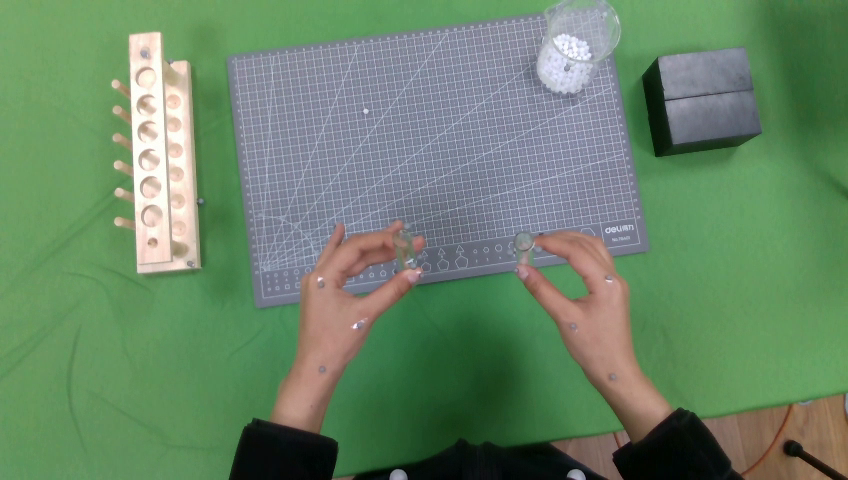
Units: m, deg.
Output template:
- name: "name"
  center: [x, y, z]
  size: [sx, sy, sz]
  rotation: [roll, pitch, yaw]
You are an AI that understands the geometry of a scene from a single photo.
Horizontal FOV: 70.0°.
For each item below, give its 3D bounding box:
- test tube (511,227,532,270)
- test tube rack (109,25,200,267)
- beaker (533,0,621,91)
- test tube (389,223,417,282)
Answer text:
- name: "test tube"
  center: [0.085, 0.010, 0.521]
  size: [0.017, 0.151, 0.017]
  rotation: [-1, 80, 9]
- name: "test tube rack"
  center: [-0.297, -0.096, 0.655]
  size: [0.067, 0.085, 0.241]
  rotation: [-5, 84, -1]
- name: "beaker"
  center: [0.160, -0.214, 0.664]
  size: [0.084, 0.100, 0.074]
  rotation: [29, 83, 4]
- name: "test tube"
  center: [-0.016, 0.015, 0.519]
  size: [0.017, 0.151, 0.017]
  rotation: [0, 74, 2]
